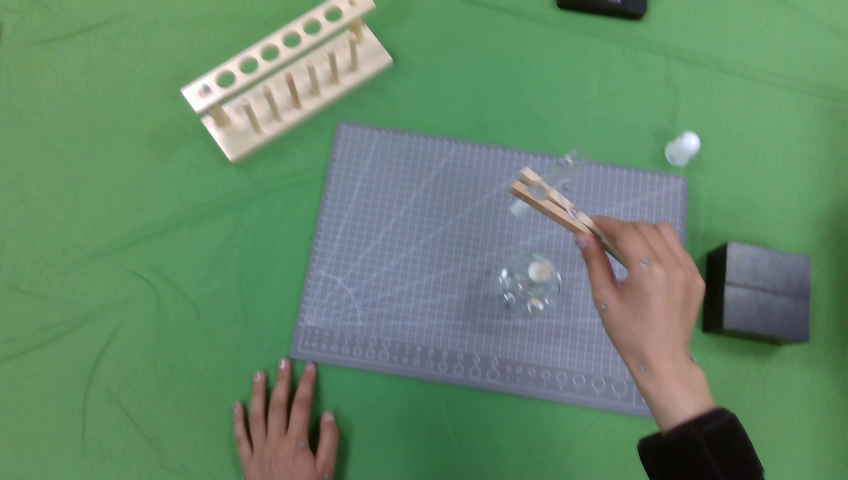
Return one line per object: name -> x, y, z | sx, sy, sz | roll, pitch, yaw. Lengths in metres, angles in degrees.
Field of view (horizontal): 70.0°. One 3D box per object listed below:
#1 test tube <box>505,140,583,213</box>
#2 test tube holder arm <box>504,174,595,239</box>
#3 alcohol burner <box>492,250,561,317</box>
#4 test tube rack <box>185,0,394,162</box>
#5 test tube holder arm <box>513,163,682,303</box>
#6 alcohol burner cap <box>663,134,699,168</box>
test tube -> 0.095, -0.048, 0.502 | 0.017, 0.150, 0.017 | 2, 77, -9
test tube holder arm -> 0.108, -0.028, 0.516 | 0.088, 0.015, 0.010 | 32, 77, -1
alcohol burner -> 0.117, 0.044, 0.672 | 0.078, 0.119, 0.077 | 1, 74, -4
test tube rack -> -0.154, -0.199, 0.734 | 0.242, 0.085, 0.066 | -34, 79, -11
test tube holder arm -> 0.148, -0.006, 0.518 | 0.178, 0.015, 0.013 | 38, 78, 1
alcohol burner cap -> 0.326, -0.114, 0.762 | 0.034, 0.048, 0.033 | 1, 75, -3
